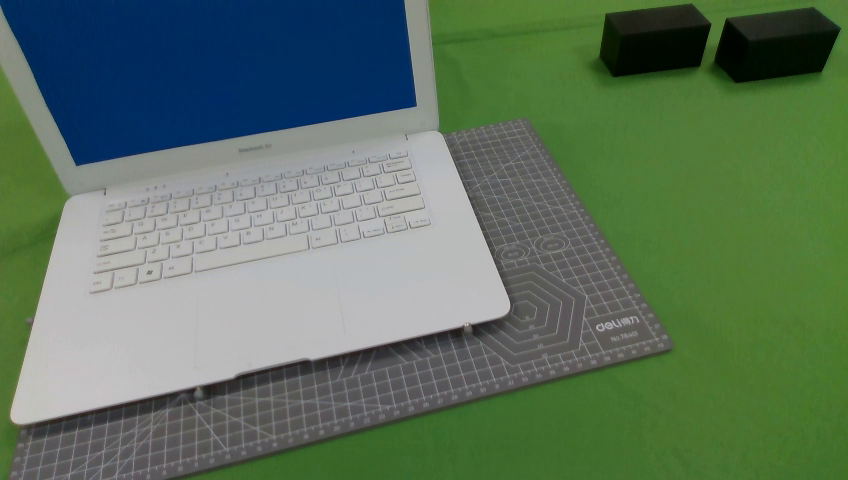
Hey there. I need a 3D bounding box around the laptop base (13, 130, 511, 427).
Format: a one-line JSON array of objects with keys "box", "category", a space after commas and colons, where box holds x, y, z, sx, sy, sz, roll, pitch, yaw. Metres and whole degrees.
[{"box": [-0.129, 0.013, 0.503, 0.355, 0.023, 0.233, -12, 50, -7], "category": "laptop base"}]

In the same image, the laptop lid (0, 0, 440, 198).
[{"box": [-0.167, -0.164, 0.514, 0.357, 0.244, 0.013, -13, 36, -6], "category": "laptop lid"}]
